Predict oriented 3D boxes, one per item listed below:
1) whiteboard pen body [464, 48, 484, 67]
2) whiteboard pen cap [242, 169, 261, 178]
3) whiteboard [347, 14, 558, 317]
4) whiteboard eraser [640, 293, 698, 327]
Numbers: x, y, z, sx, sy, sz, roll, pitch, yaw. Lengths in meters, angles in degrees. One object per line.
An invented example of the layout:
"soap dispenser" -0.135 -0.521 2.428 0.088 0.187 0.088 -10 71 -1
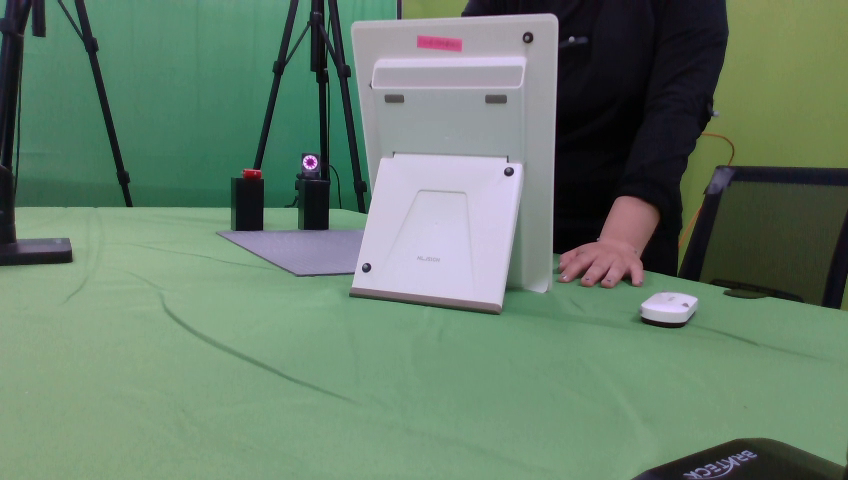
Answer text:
"whiteboard pen body" 0.058 -0.211 0.700 0.017 0.017 0.140 4 20 8
"whiteboard pen cap" -0.326 -0.125 1.144 0.032 0.017 0.017 0 7 -37
"whiteboard" 0.012 -0.056 0.608 0.216 0.305 0.144 6 27 20
"whiteboard eraser" 0.240 0.067 0.590 0.041 0.019 0.102 5 7 32
